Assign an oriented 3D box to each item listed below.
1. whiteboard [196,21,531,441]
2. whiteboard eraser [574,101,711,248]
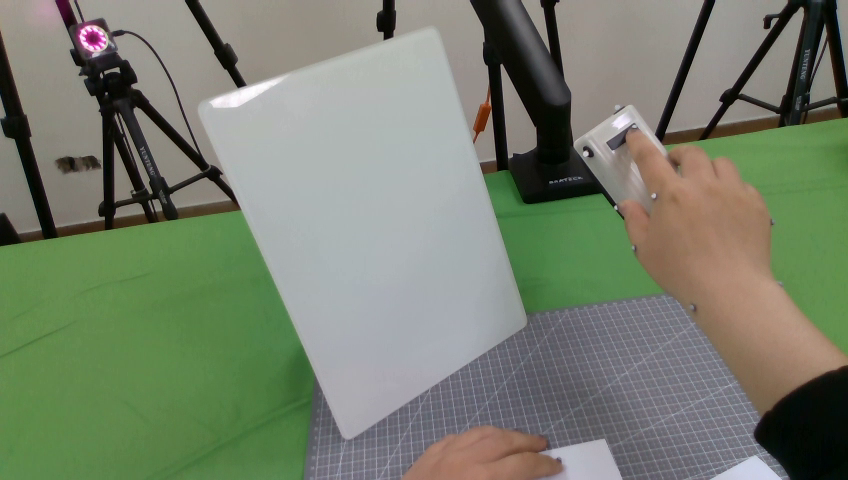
[{"bbox_3d":[-0.060,-0.015,0.579,0.217,0.307,0.143,-27,19,-23],"label":"whiteboard"},{"bbox_3d":[0.175,-0.052,0.492,0.055,0.112,0.042,-36,-2,-8],"label":"whiteboard eraser"}]
